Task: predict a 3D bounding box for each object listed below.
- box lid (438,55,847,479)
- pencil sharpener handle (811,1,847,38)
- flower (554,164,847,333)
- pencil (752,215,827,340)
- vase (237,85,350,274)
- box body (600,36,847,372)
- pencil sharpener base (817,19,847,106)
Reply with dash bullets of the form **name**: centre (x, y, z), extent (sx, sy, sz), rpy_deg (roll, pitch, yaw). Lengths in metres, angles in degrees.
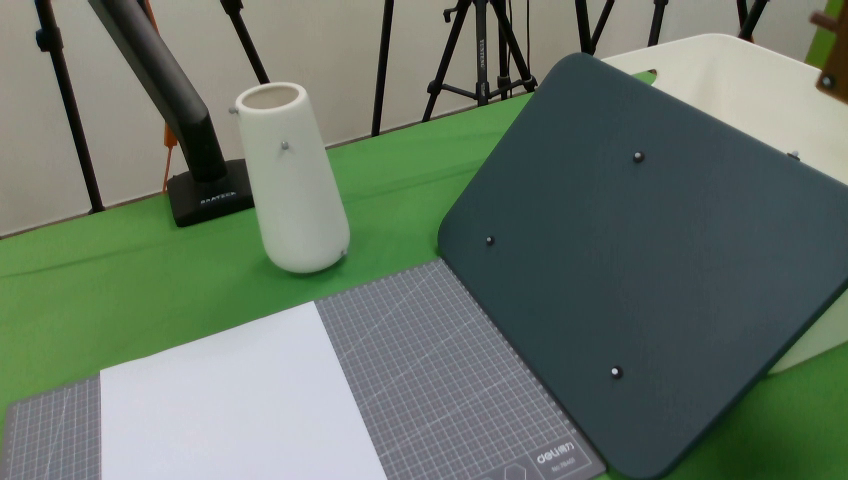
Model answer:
- **box lid**: centre (0.161, -0.006, 0.548), extent (0.015, 0.263, 0.367), rpy_deg (24, 18, -39)
- **pencil sharpener handle**: centre (0.320, -0.187, 0.460), extent (0.036, 0.068, 0.030), rpy_deg (-33, 53, -15)
- **flower**: centre (0.293, 0.005, 0.662), extent (0.358, 0.038, 0.044), rpy_deg (36, 19, 33)
- **pencil**: centre (0.365, 0.031, 0.607), extent (0.012, 0.012, 0.192), rpy_deg (0, 36, 8)
- **vase**: centre (-0.141, -0.060, 0.653), extent (0.098, 0.202, 0.097), rpy_deg (-5, 37, 4)
- **box body**: centre (0.322, -0.062, 0.628), extent (0.254, 0.162, 0.359), rpy_deg (-18, 39, -16)
- **pencil sharpener base**: centre (0.350, -0.149, 0.440), extent (0.061, 0.108, 0.076), rpy_deg (-31, 53, -18)
